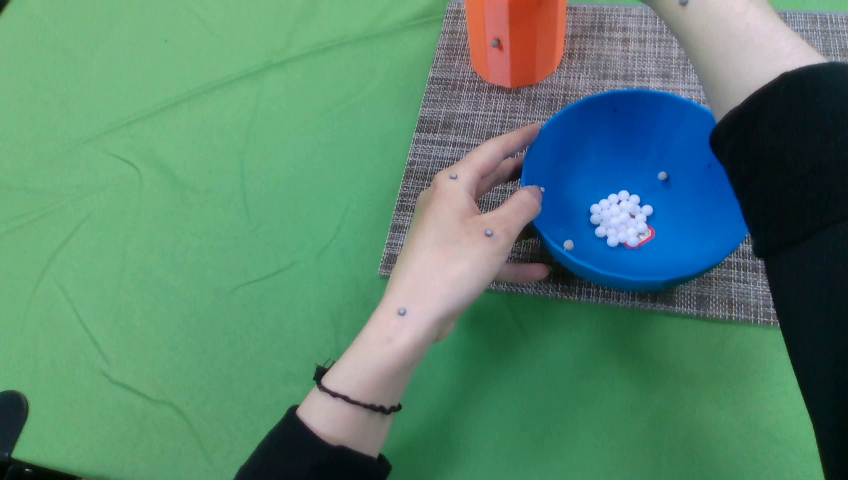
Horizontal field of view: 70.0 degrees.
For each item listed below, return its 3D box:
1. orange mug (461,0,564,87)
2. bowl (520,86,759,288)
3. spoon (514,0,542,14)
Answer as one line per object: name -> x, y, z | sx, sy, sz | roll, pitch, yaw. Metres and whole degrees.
orange mug -> 0.082, -0.213, 0.526 | 0.083, 0.101, 0.125 | 18, 71, 18
bowl -> 0.143, -0.025, 0.429 | 0.151, 0.077, 0.150 | -3, 62, 7
spoon -> 0.087, -0.224, 0.442 | 0.021, 0.194, 0.041 | -22, 84, 0
